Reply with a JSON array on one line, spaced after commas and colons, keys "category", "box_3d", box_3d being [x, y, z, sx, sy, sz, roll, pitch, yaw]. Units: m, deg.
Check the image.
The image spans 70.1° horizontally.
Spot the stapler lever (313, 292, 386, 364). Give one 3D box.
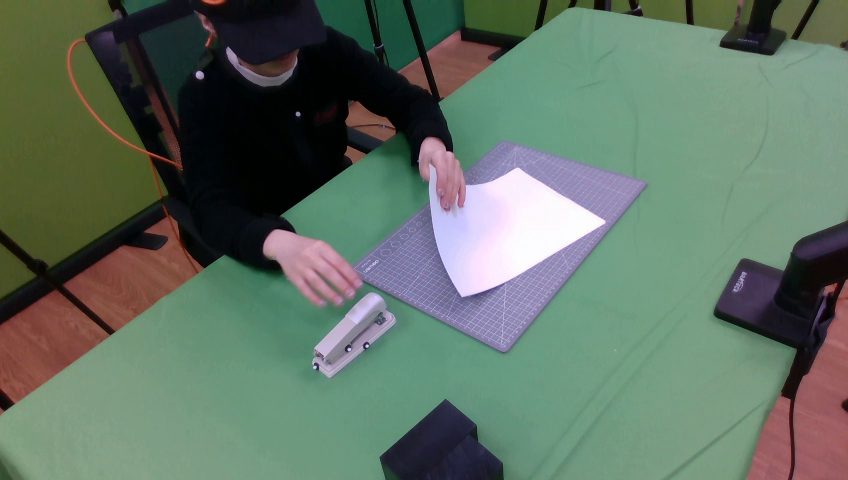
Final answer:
[{"category": "stapler lever", "box_3d": [-0.099, 0.116, 0.814, 0.026, 0.040, 0.118, 25, 51, 36]}]

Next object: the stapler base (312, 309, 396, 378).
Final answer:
[{"category": "stapler base", "box_3d": [-0.096, 0.133, 0.831, 0.041, 0.024, 0.131, 25, 52, 36]}]
